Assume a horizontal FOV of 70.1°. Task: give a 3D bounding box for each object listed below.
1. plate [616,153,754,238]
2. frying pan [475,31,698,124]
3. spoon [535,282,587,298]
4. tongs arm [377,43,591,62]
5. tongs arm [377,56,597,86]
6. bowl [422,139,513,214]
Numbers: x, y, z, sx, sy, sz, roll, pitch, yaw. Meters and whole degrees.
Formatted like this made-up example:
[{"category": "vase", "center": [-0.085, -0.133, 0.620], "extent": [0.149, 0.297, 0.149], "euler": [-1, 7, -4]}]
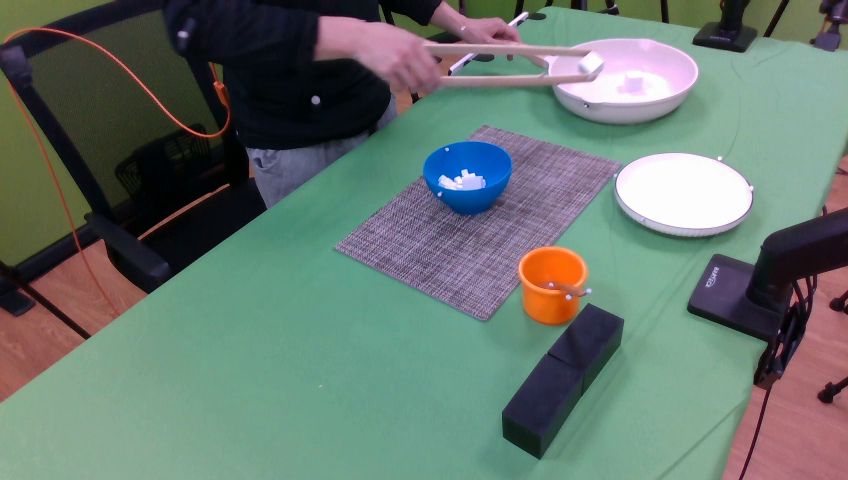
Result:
[{"category": "plate", "center": [0.416, -0.069, 0.977], "extent": [0.207, 0.039, 0.206], "euler": [-4, 40, 4]}, {"category": "frying pan", "center": [0.320, -0.371, 1.290], "extent": [0.485, 0.103, 0.307], "euler": [28, 50, 23]}, {"category": "spoon", "center": [0.176, 0.063, 0.774], "extent": [0.041, 0.194, 0.021], "euler": [-3, 85, 1]}, {"category": "tongs arm", "center": [0.109, -0.304, 0.998], "extent": [0.390, 0.027, 0.028], "euler": [-5, 80, -21]}, {"category": "tongs arm", "center": [0.113, -0.277, 0.992], "extent": [0.387, 0.026, 0.050], "euler": [-8, 78, -21]}, {"category": "bowl", "center": [0.075, -0.098, 1.021], "extent": [0.151, 0.077, 0.150], "euler": [-4, 41, 4]}]
